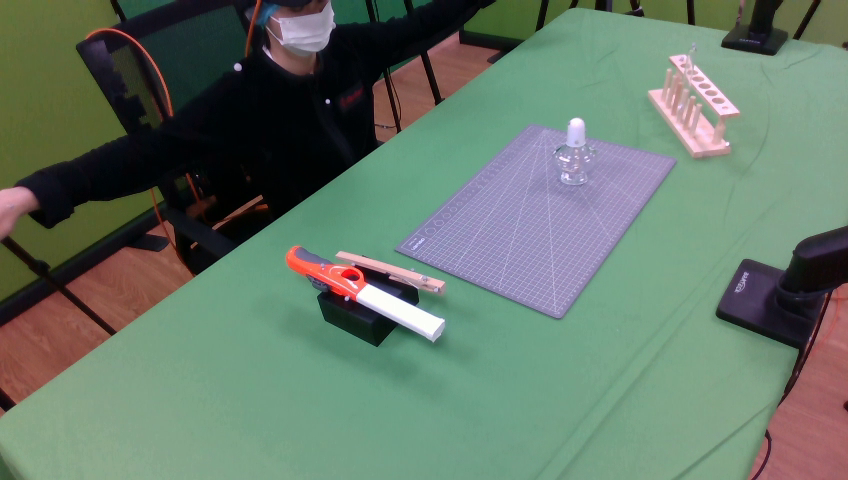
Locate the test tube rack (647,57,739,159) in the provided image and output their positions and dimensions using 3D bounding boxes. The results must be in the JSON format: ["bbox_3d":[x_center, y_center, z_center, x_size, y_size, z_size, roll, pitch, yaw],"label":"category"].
[{"bbox_3d":[0.504,-0.257,1.153,0.067,0.085,0.241,-8,40,1],"label":"test tube rack"}]

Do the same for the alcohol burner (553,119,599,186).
[{"bbox_3d":[0.261,-0.153,1.042,0.078,0.119,0.077,-6,40,6],"label":"alcohol burner"}]

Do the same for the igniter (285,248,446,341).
[{"bbox_3d":[-0.091,0.069,0.831,0.274,0.025,0.057,22,47,27],"label":"igniter"}]

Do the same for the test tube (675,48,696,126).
[{"bbox_3d":[0.481,-0.279,1.112,0.017,0.151,0.017,-5,40,5],"label":"test tube"}]

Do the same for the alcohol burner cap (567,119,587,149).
[{"bbox_3d":[0.257,-0.181,1.019,0.034,0.048,0.033,-7,36,5],"label":"alcohol burner cap"}]

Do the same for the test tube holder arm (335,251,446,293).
[{"bbox_3d":[-0.050,0.043,0.853,0.177,0.013,0.015,17,40,24],"label":"test tube holder arm"}]

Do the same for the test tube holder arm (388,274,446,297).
[{"bbox_3d":[-0.010,0.060,0.838,0.087,0.010,0.015,17,40,24],"label":"test tube holder arm"}]
